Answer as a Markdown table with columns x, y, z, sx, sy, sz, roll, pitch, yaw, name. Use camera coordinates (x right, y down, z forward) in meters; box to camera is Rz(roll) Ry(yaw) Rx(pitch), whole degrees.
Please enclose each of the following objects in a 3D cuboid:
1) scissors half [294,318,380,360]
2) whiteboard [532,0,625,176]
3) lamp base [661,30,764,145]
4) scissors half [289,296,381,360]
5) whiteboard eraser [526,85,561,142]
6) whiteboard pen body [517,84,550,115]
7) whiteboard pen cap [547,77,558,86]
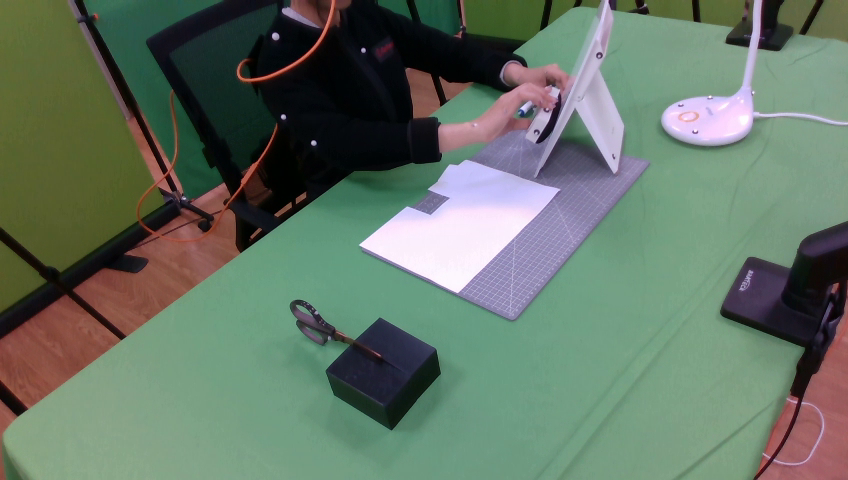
| x | y | z | sx | sy | sz | roll | pitch | yaw | name |
| --- | --- | --- | --- | --- | --- | --- | --- | --- | --- |
| -0.118 | 0.135 | 0.809 | 0.173 | 0.040 | 0.013 | 9 | 37 | 44 | scissors half |
| 0.320 | -0.258 | 1.050 | 0.144 | 0.306 | 0.217 | 21 | 45 | 5 | whiteboard |
| 0.535 | -0.287 | 1.096 | 0.179 | 0.181 | 0.159 | -10 | 40 | -4 | lamp base |
| -0.120 | 0.117 | 0.798 | 0.174 | 0.040 | 0.013 | 27 | 43 | 31 | scissors half |
| 0.216 | -0.225 | 1.079 | 0.042 | 0.055 | 0.112 | 25 | 47 | -2 | whiteboard eraser |
| 0.241 | -0.306 | 1.291 | 0.017 | 0.017 | 0.141 | 23 | 51 | 32 | whiteboard pen body |
| 0.279 | -0.341 | 1.321 | 0.018 | 0.018 | 0.033 | 22 | 51 | 31 | whiteboard pen cap |
